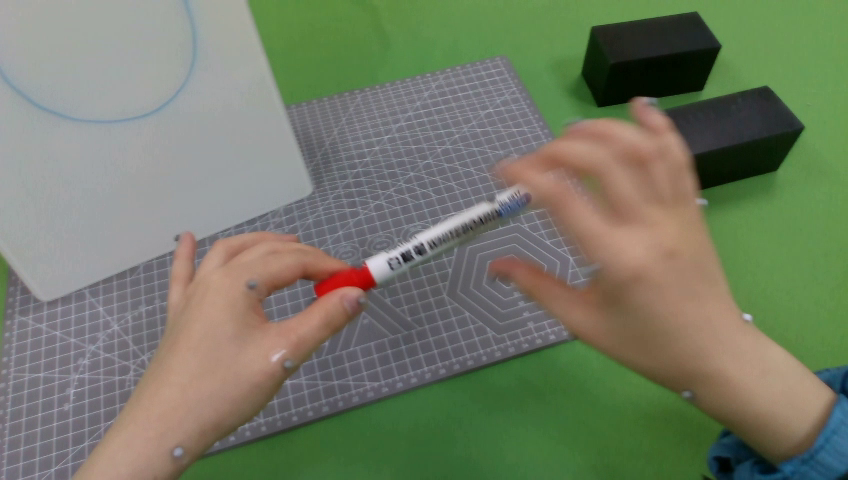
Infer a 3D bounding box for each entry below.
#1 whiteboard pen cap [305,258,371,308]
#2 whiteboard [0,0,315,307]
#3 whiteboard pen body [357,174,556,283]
[{"bbox_3d":[-0.045,0.022,0.320,0.032,0.017,0.017,-24,55,14],"label":"whiteboard pen cap"},{"bbox_3d":[-0.240,-0.146,0.428,0.217,0.308,0.142,-24,38,-13],"label":"whiteboard"},{"bbox_3d":[0.009,-0.002,0.333,0.140,0.017,0.016,-26,58,-6],"label":"whiteboard pen body"}]
